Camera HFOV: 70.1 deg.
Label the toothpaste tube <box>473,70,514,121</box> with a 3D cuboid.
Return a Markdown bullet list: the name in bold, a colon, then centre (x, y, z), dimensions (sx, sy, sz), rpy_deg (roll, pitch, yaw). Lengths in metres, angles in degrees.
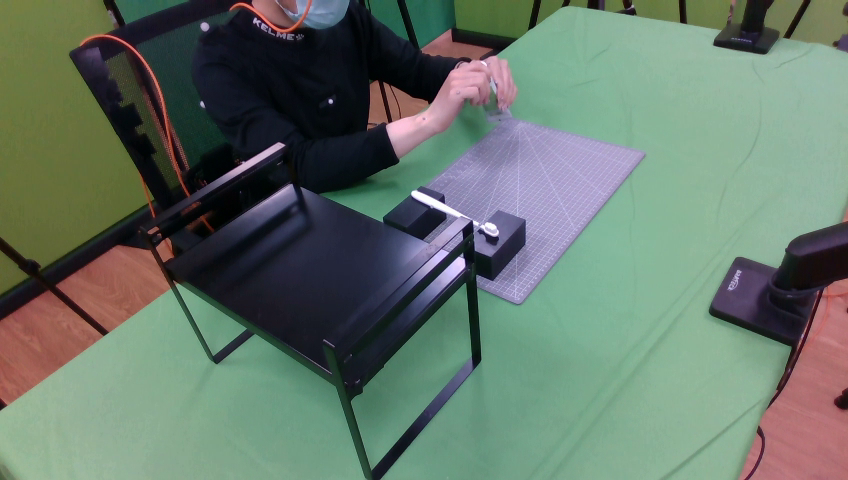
- **toothpaste tube**: centre (0.127, -0.272, 1.136), dimensions (0.055, 0.166, 0.034), rpy_deg (-3, 70, 19)

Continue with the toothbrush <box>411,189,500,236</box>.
- **toothbrush**: centre (0.044, -0.046, 0.940), dimensions (0.180, 0.017, 0.014), rpy_deg (28, 67, 36)

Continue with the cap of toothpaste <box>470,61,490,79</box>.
- **cap of toothpaste**: centre (0.099, -0.299, 1.067), dimensions (0.037, 0.011, 0.037), rpy_deg (-7, 68, 18)
